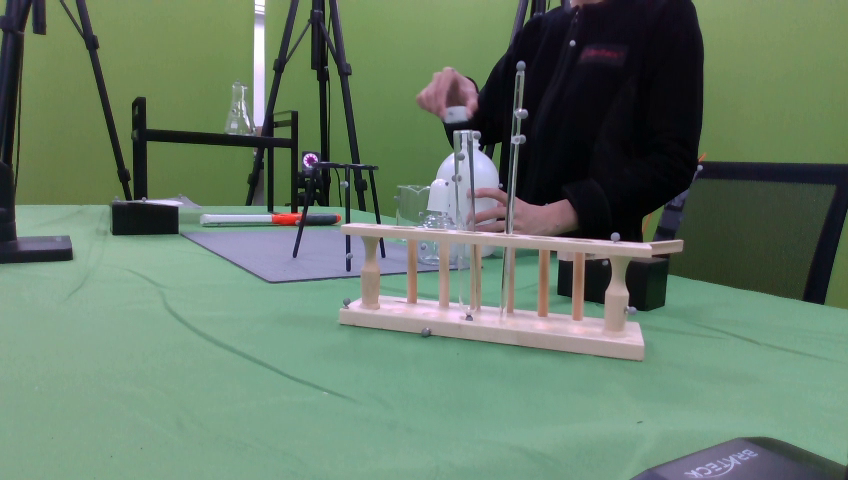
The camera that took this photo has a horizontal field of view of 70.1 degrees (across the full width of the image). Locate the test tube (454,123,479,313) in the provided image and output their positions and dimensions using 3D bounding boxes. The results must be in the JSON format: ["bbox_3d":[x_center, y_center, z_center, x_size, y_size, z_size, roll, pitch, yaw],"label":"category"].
[{"bbox_3d":[0.034,-0.016,0.477,0.017,0.150,0.017,-2,9,1],"label":"test tube"}]

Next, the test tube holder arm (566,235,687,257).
[{"bbox_3d":[0.215,0.006,0.630,0.179,0.015,0.013,-3,9,-31],"label":"test tube holder arm"}]

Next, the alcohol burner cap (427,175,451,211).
[{"bbox_3d":[0.023,-0.064,0.822,0.034,0.048,0.034,7,4,0],"label":"alcohol burner cap"}]

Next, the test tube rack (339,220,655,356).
[{"bbox_3d":[0.056,0.032,0.495,0.242,0.085,0.067,4,7,15],"label":"test tube rack"}]

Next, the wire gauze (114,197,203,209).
[{"bbox_3d":[-0.447,-0.062,1.015,0.126,0.011,0.121,-2,8,-31],"label":"wire gauze"}]

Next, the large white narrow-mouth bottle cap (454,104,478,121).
[{"bbox_3d":[0.065,-0.195,0.929,0.038,0.024,0.037,2,8,0],"label":"large white narrow-mouth bottle cap"}]

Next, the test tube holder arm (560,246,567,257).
[{"bbox_3d":[0.173,0.007,0.611,0.088,0.015,0.010,-3,9,-30],"label":"test tube holder arm"}]

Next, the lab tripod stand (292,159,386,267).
[{"bbox_3d":[-0.105,-0.039,0.798,0.148,0.131,0.148,2,5,0],"label":"lab tripod stand"}]

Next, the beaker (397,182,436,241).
[{"bbox_3d":[-0.012,-0.050,1.072,0.074,0.100,0.084,1,8,-4],"label":"beaker"}]

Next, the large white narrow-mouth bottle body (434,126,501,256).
[{"bbox_3d":[0.069,-0.078,0.937,0.102,0.194,0.102,2,8,0],"label":"large white narrow-mouth bottle body"}]

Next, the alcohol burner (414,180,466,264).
[{"bbox_3d":[0.021,-0.028,0.826,0.078,0.119,0.078,0,6,0],"label":"alcohol burner"}]

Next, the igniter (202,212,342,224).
[{"bbox_3d":[-0.298,-0.044,1.216,0.278,0.025,0.057,-2,-2,-32],"label":"igniter"}]

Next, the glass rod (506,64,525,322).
[{"bbox_3d":[0.069,-0.030,0.458,0.008,0.199,0.008,0,15,0],"label":"glass rod"}]

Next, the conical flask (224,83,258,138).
[{"bbox_3d":[-0.422,-0.299,1.395,0.075,0.122,0.075,2,7,0],"label":"conical flask"}]
